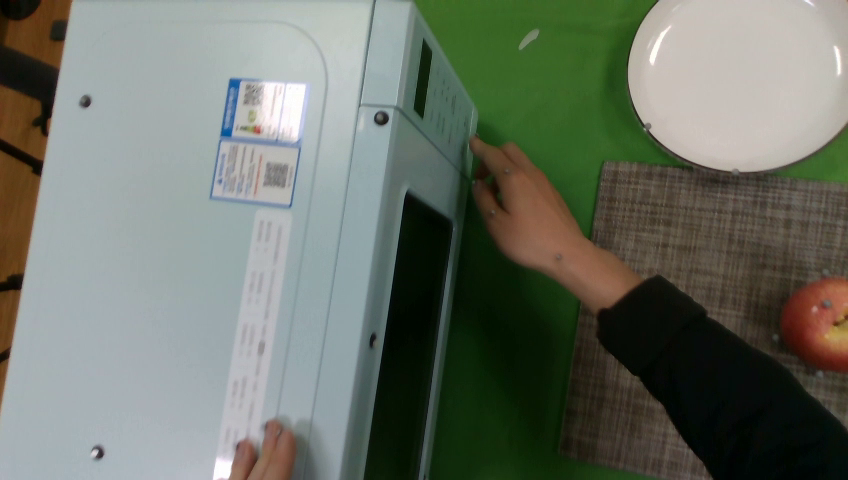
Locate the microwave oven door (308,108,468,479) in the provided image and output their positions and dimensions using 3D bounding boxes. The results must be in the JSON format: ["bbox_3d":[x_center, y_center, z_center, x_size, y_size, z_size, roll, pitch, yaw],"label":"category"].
[{"bbox_3d":[-0.025,0.095,0.520,0.039,0.245,0.355,6,85,17],"label":"microwave oven door"}]

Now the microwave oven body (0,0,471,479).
[{"bbox_3d":[-0.157,0.039,0.569,0.325,0.261,0.441,7,86,16],"label":"microwave oven body"}]

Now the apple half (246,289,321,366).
[{"bbox_3d":[-0.140,0.090,0.588,0.081,0.033,0.081,1,97,10],"label":"apple half"}]

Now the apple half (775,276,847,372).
[{"bbox_3d":[0.334,0.074,0.523,0.053,0.075,0.080,-13,84,18],"label":"apple half"}]

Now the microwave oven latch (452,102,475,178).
[{"bbox_3d":[0.038,-0.106,0.632,0.030,0.029,0.079,2,85,16],"label":"microwave oven latch"}]

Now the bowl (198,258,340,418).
[{"bbox_3d":[-0.138,0.091,0.598,0.151,0.077,0.151,1,92,23],"label":"bowl"}]

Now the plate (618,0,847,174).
[{"bbox_3d":[0.295,-0.162,0.585,0.207,0.039,0.207,-2,83,15],"label":"plate"}]
